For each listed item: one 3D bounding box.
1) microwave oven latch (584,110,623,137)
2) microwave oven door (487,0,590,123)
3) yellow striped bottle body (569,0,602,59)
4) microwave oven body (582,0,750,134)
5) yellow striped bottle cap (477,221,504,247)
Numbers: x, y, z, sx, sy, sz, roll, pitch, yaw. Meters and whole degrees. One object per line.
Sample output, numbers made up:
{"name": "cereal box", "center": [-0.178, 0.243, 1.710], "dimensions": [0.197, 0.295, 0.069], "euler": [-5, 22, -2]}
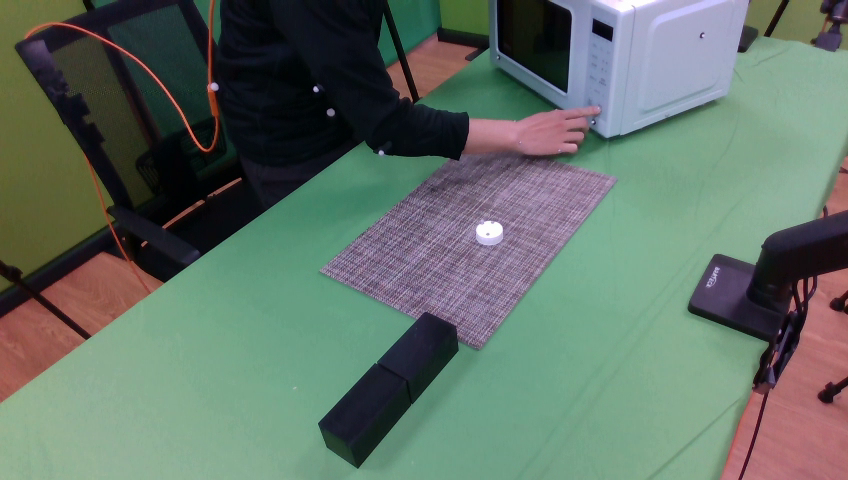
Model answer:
{"name": "microwave oven latch", "center": [0.337, -0.222, 1.142], "dimensions": [0.030, 0.029, 0.078], "euler": [-21, 42, -15]}
{"name": "microwave oven door", "center": [0.232, -0.420, 1.231], "dimensions": [0.039, 0.245, 0.352], "euler": [-22, 43, -16]}
{"name": "yellow striped bottle body", "center": [0.338, -0.448, 1.267], "dimensions": [0.063, 0.121, 0.062], "euler": [-5, 45, 5]}
{"name": "microwave oven body", "center": [0.382, -0.445, 1.246], "dimensions": [0.327, 0.261, 0.437], "euler": [-22, 42, -16]}
{"name": "yellow striped bottle cap", "center": [0.106, -0.010, 0.966], "dimensions": [0.044, 0.019, 0.044], "euler": [-4, 39, 4]}
